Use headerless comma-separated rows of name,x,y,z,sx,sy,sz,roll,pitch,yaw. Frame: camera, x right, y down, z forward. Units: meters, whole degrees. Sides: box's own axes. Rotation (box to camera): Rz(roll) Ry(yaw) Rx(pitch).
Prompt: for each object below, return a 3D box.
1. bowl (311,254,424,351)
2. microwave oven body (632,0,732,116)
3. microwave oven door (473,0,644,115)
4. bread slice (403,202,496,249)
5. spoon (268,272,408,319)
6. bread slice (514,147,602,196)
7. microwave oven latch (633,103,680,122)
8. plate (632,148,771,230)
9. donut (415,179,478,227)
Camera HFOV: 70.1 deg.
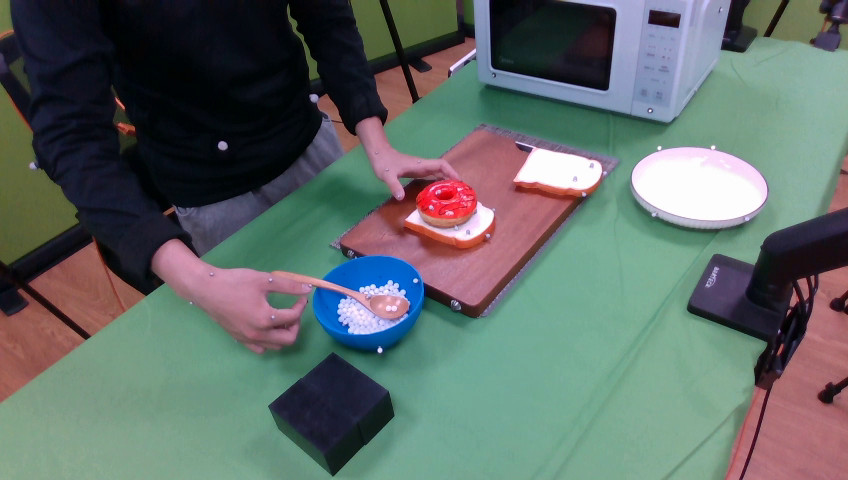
bowl,-0.071,0.098,0.821,0.151,0.077,0.150,-4,40,4
microwave oven body,0.377,-0.462,1.267,0.438,0.261,0.327,21,49,30
microwave oven door,0.257,-0.396,1.198,0.353,0.245,0.039,21,48,29
bread slice,0.048,-0.034,0.961,0.130,0.019,0.105,22,49,32
spoon,-0.116,0.069,0.813,0.194,0.021,0.041,18,39,1
bread slice,0.233,-0.115,1.026,0.133,0.018,0.107,13,45,20
microwave oven latch,0.444,-0.249,1.157,0.078,0.029,0.030,21,49,30
plate,0.447,-0.081,0.988,0.207,0.039,0.206,-4,40,4
donut,0.036,-0.058,0.944,0.099,0.048,0.098,-5,39,4
